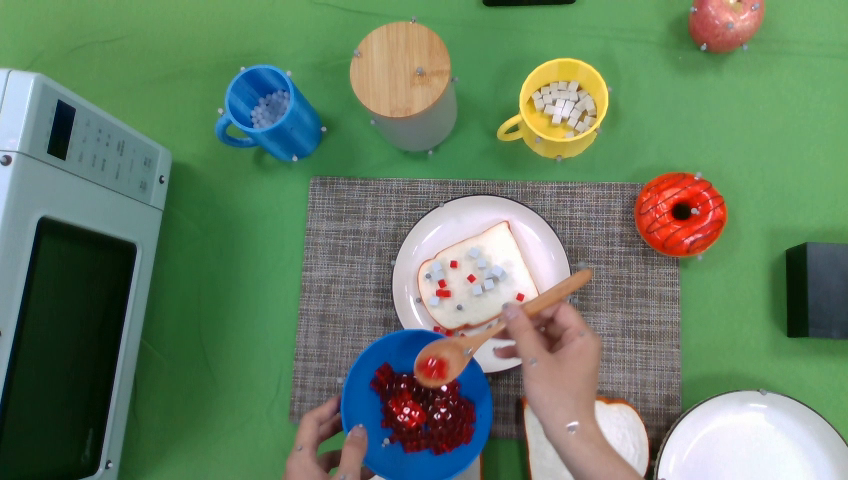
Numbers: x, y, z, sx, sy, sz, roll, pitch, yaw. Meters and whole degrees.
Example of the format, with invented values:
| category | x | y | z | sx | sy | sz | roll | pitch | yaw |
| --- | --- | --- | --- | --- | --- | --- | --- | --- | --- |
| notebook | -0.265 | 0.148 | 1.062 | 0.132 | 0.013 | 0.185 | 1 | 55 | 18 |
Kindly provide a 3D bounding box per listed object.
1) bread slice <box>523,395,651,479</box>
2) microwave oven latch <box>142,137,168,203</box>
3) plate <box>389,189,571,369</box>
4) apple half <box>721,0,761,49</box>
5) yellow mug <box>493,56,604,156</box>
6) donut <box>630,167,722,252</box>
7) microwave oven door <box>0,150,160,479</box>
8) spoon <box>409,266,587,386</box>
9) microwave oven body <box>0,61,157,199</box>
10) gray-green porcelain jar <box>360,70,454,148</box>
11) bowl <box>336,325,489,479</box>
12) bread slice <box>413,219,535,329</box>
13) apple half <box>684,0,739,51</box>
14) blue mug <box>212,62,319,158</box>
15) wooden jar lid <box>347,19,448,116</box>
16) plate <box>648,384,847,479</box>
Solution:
| category | x | y | z | sx | sy | sz | roll | pitch | yaw |
| --- | --- | --- | --- | --- | --- | --- | --- | --- | --- |
| bread slice | 0.176 | 0.221 | 0.641 | 0.135 | 0.018 | 0.106 | -2 | 77 | -13 |
| microwave oven latch | -0.345 | -0.089 | 0.761 | 0.030 | 0.029 | 0.079 | 8 | 83 | 8 |
| plate | 0.064 | 0.045 | 0.705 | 0.207 | 0.039 | 0.207 | -1 | 81 | 7 |
| apple half | 0.356 | -0.268 | 0.705 | 0.053 | 0.075 | 0.080 | -30 | 74 | -4 |
| yellow mug | 0.143 | -0.151 | 0.716 | 0.131 | 0.064 | 0.099 | -22 | 79 | 4 |
| donut | 0.284 | -0.034 | 0.687 | 0.099 | 0.048 | 0.098 | -1 | 82 | 7 |
| microwave oven door | -0.384 | 0.110 | 0.631 | 0.039 | 0.245 | 0.354 | 5 | 81 | 8 |
| spoon | 0.066 | 0.079 | 0.557 | 0.194 | 0.022 | 0.041 | -35 | 76 | 20 |
| microwave oven body | -0.523 | 0.056 | 0.662 | 0.325 | 0.261 | 0.440 | 5 | 82 | 7 |
| gray-green porcelain jar | -0.020 | -0.171 | 0.709 | 0.106 | 0.127 | 0.105 | -1 | 80 | 7 |
| bowl | -0.016 | 0.169 | 0.619 | 0.152 | 0.077 | 0.150 | 4 | 66 | -10 |
| bread slice | 0.054 | 0.046 | 0.709 | 0.131 | 0.019 | 0.104 | -23 | 78 | 0 |
| apple half | 0.323 | -0.248 | 0.704 | 0.033 | 0.081 | 0.081 | -30 | 78 | -3 |
| blue mug | -0.198 | -0.149 | 0.737 | 0.116 | 0.106 | 0.082 | -23 | 78 | 3 |
| wooden jar lid | -0.028 | -0.182 | 0.648 | 0.108 | 0.021 | 0.108 | -1 | 79 | 7 |
| plate | 0.342 | 0.258 | 0.641 | 0.209 | 0.038 | 0.208 | -1 | 81 | 7 |
